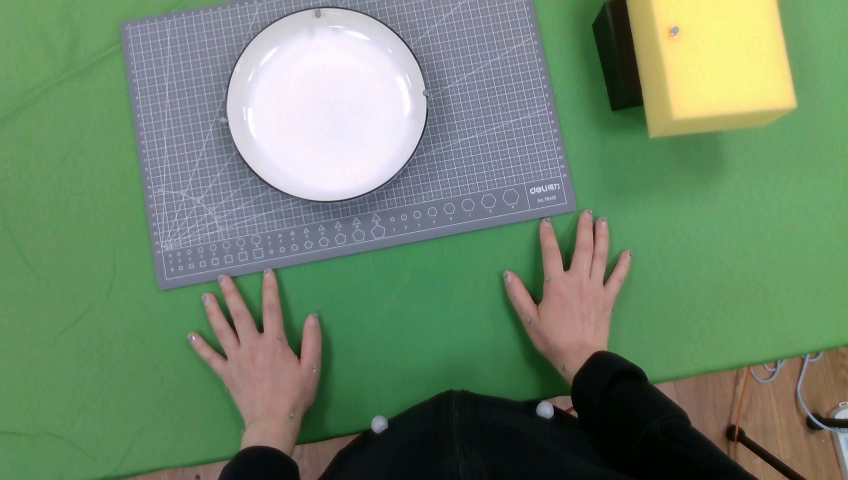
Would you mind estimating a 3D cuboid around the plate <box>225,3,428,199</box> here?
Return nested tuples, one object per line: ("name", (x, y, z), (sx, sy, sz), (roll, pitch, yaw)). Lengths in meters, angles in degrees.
("plate", (-0.100, -0.143, 0.638), (0.209, 0.038, 0.208), (0, 84, 0))

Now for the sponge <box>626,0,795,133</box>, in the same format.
("sponge", (0.269, -0.216, 0.589), (0.118, 0.061, 0.206), (-8, 84, -1))
